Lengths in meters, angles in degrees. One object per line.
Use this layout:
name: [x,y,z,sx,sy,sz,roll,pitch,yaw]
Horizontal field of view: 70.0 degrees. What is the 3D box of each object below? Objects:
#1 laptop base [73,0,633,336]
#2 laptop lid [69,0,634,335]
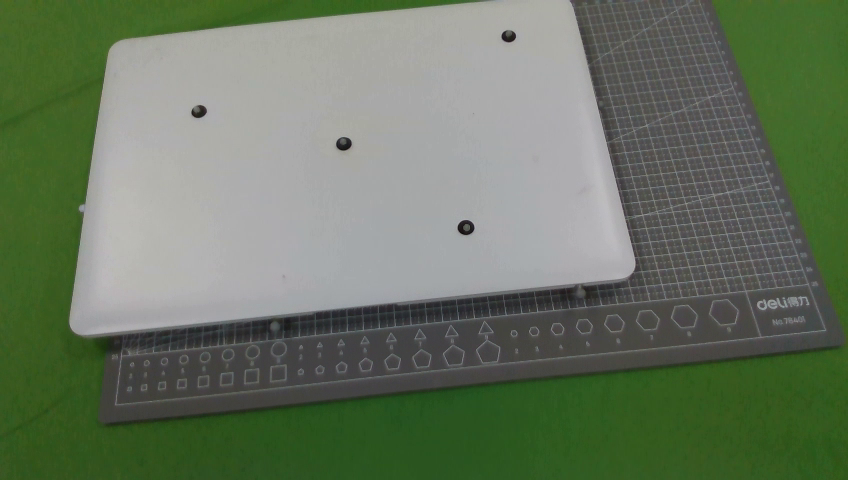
laptop base: [-0.054,-0.062,0.426,0.354,0.023,0.233,-6,68,0]
laptop lid: [-0.054,-0.065,0.414,0.357,0.013,0.239,-5,67,0]
